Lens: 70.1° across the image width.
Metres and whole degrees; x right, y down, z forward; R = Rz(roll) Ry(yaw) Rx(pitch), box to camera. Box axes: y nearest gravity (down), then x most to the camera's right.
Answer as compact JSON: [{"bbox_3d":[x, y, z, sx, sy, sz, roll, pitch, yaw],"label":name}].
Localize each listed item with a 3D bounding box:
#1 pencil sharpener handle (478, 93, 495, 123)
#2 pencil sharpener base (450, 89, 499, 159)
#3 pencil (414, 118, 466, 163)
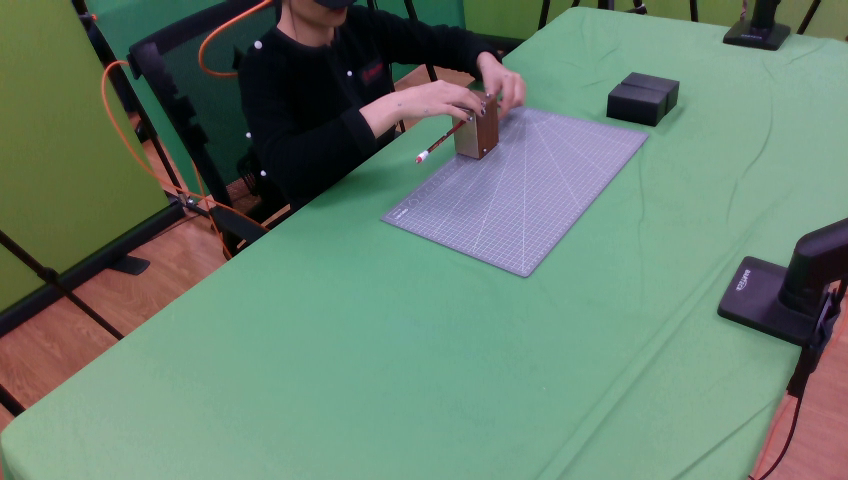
[{"bbox_3d":[0.127,-0.262,1.177,0.035,0.068,0.031,27,52,26],"label":"pencil sharpener handle"},{"bbox_3d":[0.100,-0.222,1.155,0.061,0.107,0.077,21,49,32],"label":"pencil sharpener base"},{"bbox_3d":[0.044,-0.193,1.092,0.012,0.012,0.194,22,51,32],"label":"pencil"}]
